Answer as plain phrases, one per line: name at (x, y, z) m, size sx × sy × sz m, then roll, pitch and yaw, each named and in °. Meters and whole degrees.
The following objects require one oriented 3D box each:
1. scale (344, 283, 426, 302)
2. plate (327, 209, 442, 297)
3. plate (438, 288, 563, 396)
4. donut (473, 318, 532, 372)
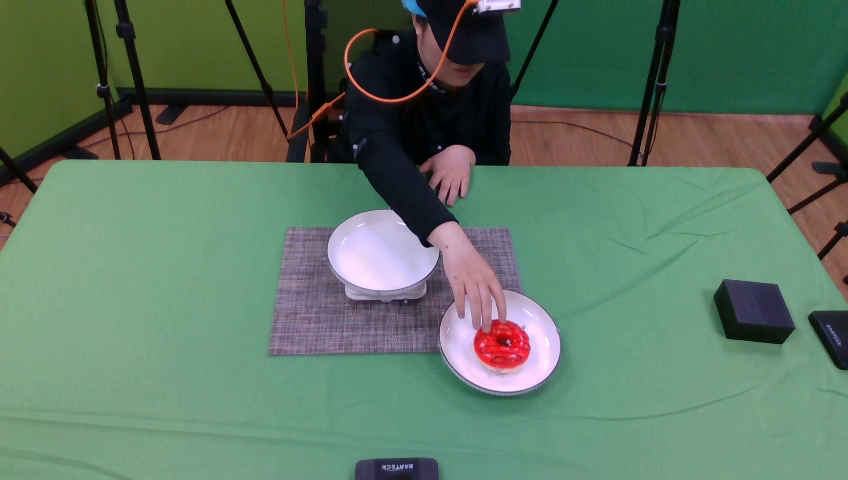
scale at (-0.075, 0.033, 1.149) m, size 0.149 × 0.032 × 0.199 m, roll 0°, pitch 46°, yaw -5°
plate at (-0.071, 0.027, 1.109) m, size 0.208 × 0.039 × 0.206 m, roll 2°, pitch 46°, yaw -1°
plate at (0.127, 0.173, 1.025) m, size 0.209 × 0.038 × 0.208 m, roll 3°, pitch 48°, yaw -3°
donut at (0.131, 0.174, 1.010) m, size 0.099 × 0.048 × 0.098 m, roll 1°, pitch 48°, yaw -1°
